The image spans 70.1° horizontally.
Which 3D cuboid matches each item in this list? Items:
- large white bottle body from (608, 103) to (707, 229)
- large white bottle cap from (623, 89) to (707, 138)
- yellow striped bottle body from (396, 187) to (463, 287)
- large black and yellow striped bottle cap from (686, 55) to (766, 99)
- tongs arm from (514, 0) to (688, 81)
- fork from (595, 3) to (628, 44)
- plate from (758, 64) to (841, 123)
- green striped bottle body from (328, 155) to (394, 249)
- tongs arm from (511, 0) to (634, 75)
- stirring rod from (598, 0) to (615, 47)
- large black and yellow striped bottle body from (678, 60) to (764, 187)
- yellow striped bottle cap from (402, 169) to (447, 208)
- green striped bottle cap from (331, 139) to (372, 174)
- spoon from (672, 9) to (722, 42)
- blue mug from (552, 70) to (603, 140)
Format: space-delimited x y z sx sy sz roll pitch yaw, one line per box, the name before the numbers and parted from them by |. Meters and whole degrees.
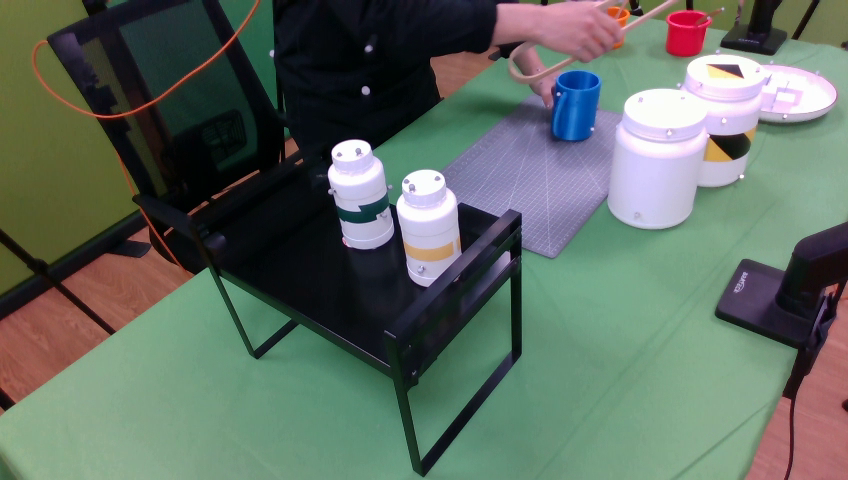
large white bottle body | 0.362 -0.124 0.941 0.130 0.185 0.130 -4 41 4
large white bottle cap | 0.352 -0.187 0.886 0.115 0.018 0.114 -4 41 4
yellow striped bottle body | 0.006 -0.013 0.638 0.063 0.121 0.062 -5 41 4
large black and yellow striped bottle cap | 0.474 -0.258 0.952 0.115 0.019 0.114 -5 41 5
tongs arm | 0.326 -0.351 0.997 0.388 0.028 0.028 -27 83 -3
fork | 0.480 -0.556 1.453 0.028 0.019 0.207 41 103 40
plate | 0.694 -0.283 1.189 0.207 0.039 0.206 -4 40 4
green striped bottle body | -0.073 -0.053 0.699 0.063 0.120 0.063 -5 41 4
tongs arm | 0.316 -0.371 1.001 0.385 0.026 0.050 -23 80 -2
stirring rod | 0.437 -0.551 1.462 0.014 0.006 0.175 -11 83 1
large black and yellow striped bottle body | 0.482 -0.196 1.008 0.131 0.185 0.130 -4 41 4
yellow striped bottle cap | 0.000 -0.052 0.605 0.044 0.019 0.044 -5 43 5
green striped bottle cap | -0.080 -0.092 0.665 0.044 0.020 0.044 -3 40 3
spoon | 0.606 -0.476 1.345 0.042 0.021 0.193 -6 -3 -2
blue mug | 0.280 -0.248 1.144 0.081 0.106 0.117 30 52 31
